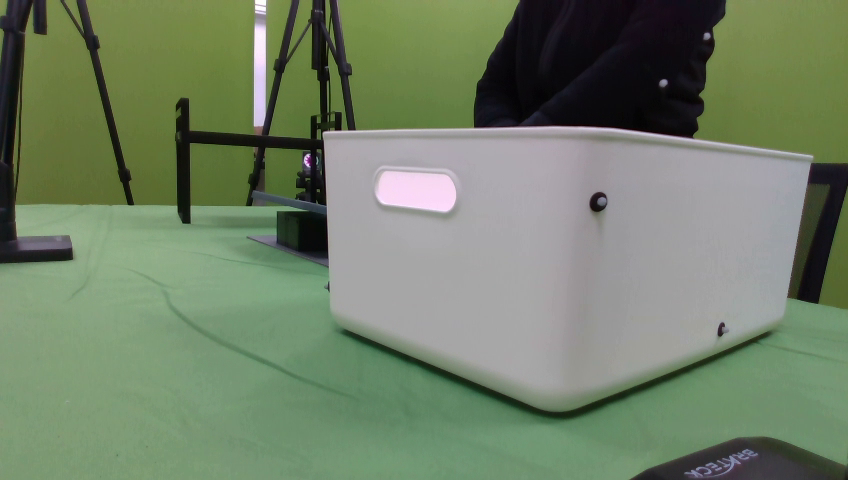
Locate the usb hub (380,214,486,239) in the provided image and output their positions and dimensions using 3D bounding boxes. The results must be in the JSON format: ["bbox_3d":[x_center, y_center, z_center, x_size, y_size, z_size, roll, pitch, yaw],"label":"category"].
[{"bbox_3d":[0.011,-0.017,0.755,0.126,0.025,0.049,1,7,-23],"label":"usb hub"}]

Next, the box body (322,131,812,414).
[{"bbox_3d":[0.125,-0.001,0.510,0.366,0.160,0.253,-4,10,-42],"label":"box body"}]

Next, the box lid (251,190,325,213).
[{"bbox_3d":[-0.066,-0.028,0.972,0.374,0.015,0.262,11,2,-34],"label":"box lid"}]
